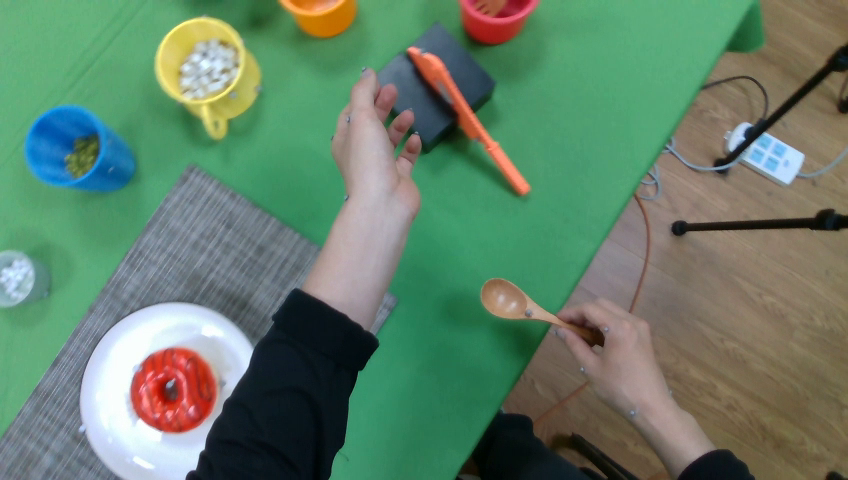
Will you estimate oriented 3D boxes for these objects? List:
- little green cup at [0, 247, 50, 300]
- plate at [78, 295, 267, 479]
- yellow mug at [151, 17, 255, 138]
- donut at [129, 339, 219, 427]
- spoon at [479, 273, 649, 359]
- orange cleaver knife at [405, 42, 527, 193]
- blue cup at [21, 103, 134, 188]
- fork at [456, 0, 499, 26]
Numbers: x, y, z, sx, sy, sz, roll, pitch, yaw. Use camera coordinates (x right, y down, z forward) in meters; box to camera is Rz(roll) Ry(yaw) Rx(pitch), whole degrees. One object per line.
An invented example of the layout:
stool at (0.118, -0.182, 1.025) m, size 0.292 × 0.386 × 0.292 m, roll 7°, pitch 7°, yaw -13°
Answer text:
little green cup at (-0.473, 0.040, 0.706) m, size 0.061 × 0.039 × 0.061 m, roll 0°, pitch 85°, yaw 1°
plate at (-0.280, 0.167, 0.689) m, size 0.209 × 0.038 × 0.208 m, roll 0°, pitch 86°, yaw 1°
yellow mug at (-0.253, -0.184, 0.707) m, size 0.100 × 0.064 × 0.130 m, roll -9°, pitch 86°, yaw 0°
donut at (-0.279, 0.160, 0.679) m, size 0.099 × 0.048 × 0.099 m, roll 0°, pitch 88°, yaw 1°
spoon at (0.149, 0.086, 0.643) m, size 0.193 × 0.022 × 0.041 m, roll 23°, pitch 73°, yaw 6°
orange cleaver knife at (0.049, -0.138, 0.692) m, size 0.012 × 0.076 × 0.213 m, roll -42°, pitch 115°, yaw -1°
blue cup at (-0.380, -0.098, 0.685) m, size 0.093 × 0.100 × 0.092 m, roll 0°, pitch 85°, yaw -1°
fork at (0.114, -0.310, 0.674) m, size 0.207 × 0.019 × 0.028 m, roll -32°, pitch 82°, yaw 40°
